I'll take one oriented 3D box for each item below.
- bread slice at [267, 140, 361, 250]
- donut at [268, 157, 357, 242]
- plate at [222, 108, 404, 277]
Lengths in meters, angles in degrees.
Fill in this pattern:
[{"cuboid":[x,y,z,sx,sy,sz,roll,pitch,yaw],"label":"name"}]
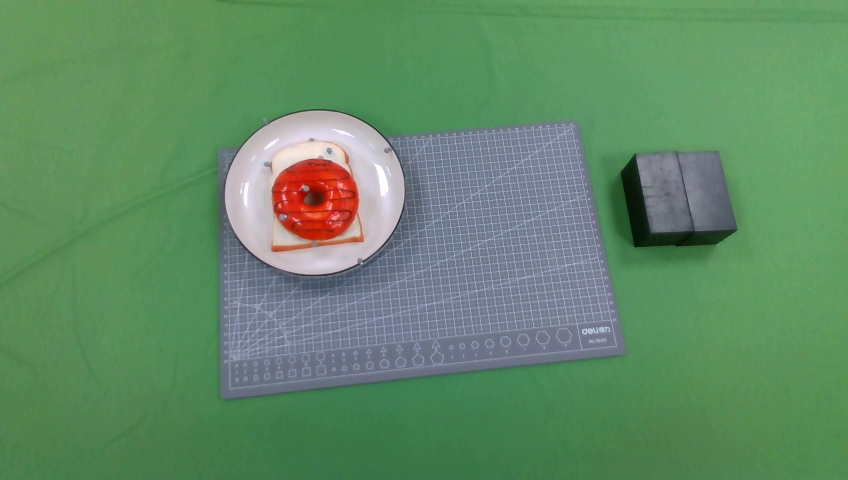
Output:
[{"cuboid":[-0.135,-0.057,0.711,0.105,0.019,0.130,-8,73,-6],"label":"bread slice"},{"cuboid":[-0.124,-0.045,0.678,0.099,0.048,0.098,2,75,-5],"label":"donut"},{"cuboid":[-0.127,-0.054,0.709,0.209,0.038,0.208,1,72,-3],"label":"plate"}]
